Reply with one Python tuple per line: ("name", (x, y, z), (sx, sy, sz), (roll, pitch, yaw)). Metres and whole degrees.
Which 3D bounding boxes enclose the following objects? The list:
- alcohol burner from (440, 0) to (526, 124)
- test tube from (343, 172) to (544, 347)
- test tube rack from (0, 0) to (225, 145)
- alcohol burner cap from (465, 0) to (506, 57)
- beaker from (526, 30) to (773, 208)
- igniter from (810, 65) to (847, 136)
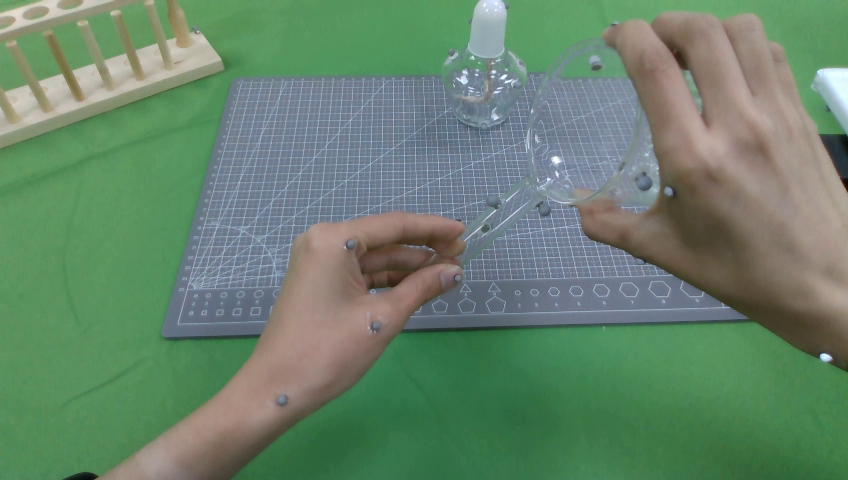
("alcohol burner", (0.054, -0.162, 0.535), (0.078, 0.120, 0.077), (1, 52, -1))
("test tube", (0.005, 0.015, 0.335), (0.150, 0.017, 0.017), (-42, 48, 25))
("test tube rack", (-0.323, -0.173, 0.564), (0.242, 0.086, 0.066), (-27, 56, -20))
("alcohol burner cap", (0.053, -0.183, 0.511), (0.034, 0.048, 0.033), (2, 50, -2))
("beaker", (0.111, -0.051, 0.300), (0.101, 0.084, 0.073), (2, 52, -28))
("igniter", (0.345, -0.042, 0.436), (0.057, 0.025, 0.274), (0, 49, 5))
